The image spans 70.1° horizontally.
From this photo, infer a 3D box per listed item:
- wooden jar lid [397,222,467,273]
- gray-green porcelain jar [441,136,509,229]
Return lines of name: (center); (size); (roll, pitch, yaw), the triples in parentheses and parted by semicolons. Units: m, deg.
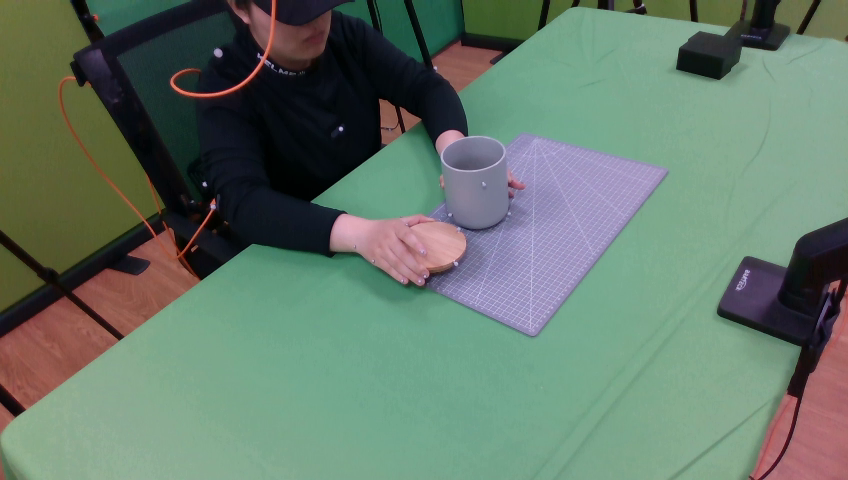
wooden jar lid: (0.012, 0.013, 0.931); (0.108, 0.021, 0.108); (-2, 41, 2)
gray-green porcelain jar: (0.086, -0.090, 0.988); (0.106, 0.127, 0.105); (-5, 40, 5)
